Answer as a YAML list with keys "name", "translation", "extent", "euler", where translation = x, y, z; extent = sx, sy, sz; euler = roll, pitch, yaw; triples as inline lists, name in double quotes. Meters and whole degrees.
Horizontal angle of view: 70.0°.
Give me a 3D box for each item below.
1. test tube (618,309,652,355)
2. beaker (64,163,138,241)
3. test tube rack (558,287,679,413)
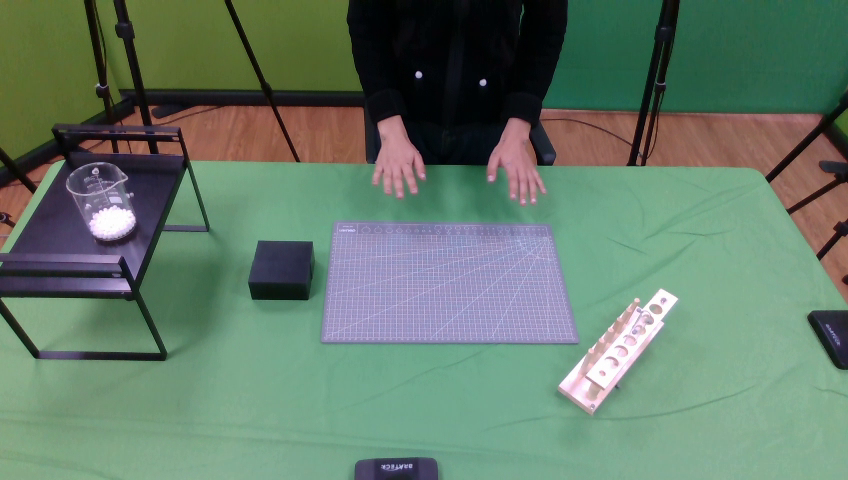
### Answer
- name: "test tube"
  translation: [0.328, 0.155, 0.955]
  extent: [0.017, 0.151, 0.017]
  euler: [1, 50, -1]
- name: "beaker"
  translation: [-0.478, -0.055, 0.910]
  extent: [0.084, 0.101, 0.073]
  euler: [-9, 48, -13]
- name: "test tube rack"
  translation: [0.326, 0.170, 1.009]
  extent: [0.066, 0.085, 0.242]
  euler: [35, 54, 26]
